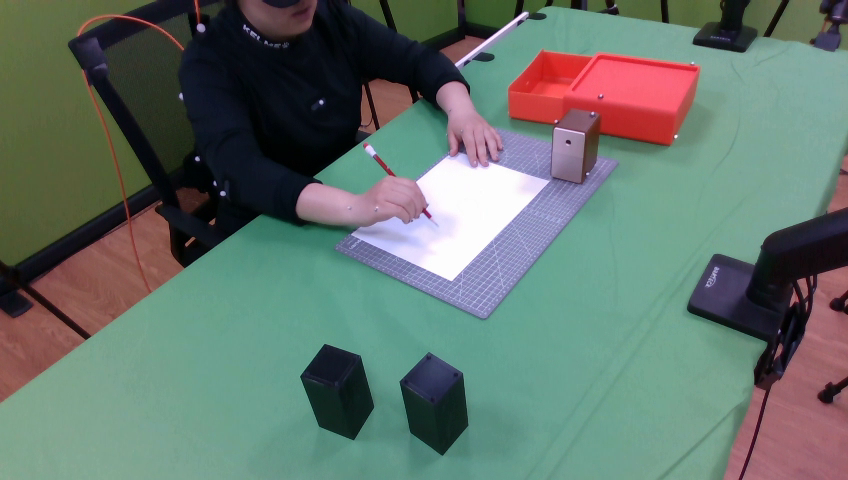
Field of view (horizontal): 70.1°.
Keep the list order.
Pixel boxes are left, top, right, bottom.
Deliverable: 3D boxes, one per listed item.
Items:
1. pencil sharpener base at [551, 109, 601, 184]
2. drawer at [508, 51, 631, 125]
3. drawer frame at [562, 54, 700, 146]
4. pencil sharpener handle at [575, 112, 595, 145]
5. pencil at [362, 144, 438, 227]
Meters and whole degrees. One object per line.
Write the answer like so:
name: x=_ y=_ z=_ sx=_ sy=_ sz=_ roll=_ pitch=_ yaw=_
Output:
pencil sharpener base: x=0.265 y=-0.163 z=1.053 sx=0.061 sy=0.107 sz=0.077 roll=17 pitch=46 yaw=28
drawer: x=0.304 y=-0.310 z=1.246 sx=0.210 sy=0.073 sz=0.195 roll=16 pitch=45 yaw=25
drawer frame: x=0.407 y=-0.282 z=1.195 sx=0.212 sy=0.083 sz=0.202 roll=17 pitch=45 yaw=25
pencil sharpener handle: x=0.290 y=-0.203 z=1.077 sx=0.036 sy=0.068 sz=0.031 roll=20 pitch=47 yaw=25
pencil: x=-0.040 y=-0.090 z=0.981 sx=0.012 sy=0.012 sz=0.193 roll=-33 pitch=71 yaw=-27
